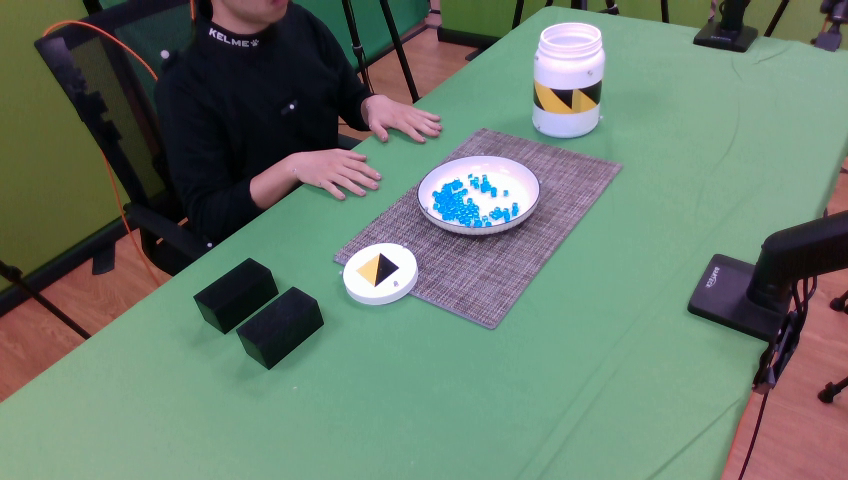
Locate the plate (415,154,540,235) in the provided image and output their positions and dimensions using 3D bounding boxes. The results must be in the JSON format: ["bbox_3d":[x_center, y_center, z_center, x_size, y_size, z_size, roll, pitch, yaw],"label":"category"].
[{"bbox_3d":[0.090,-0.074,1.025,0.207,0.039,0.206,-4,41,4],"label":"plate"}]

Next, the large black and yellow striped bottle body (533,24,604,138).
[{"bbox_3d":[0.275,-0.304,1.160,0.131,0.185,0.130,-4,41,4],"label":"large black and yellow striped bottle body"}]

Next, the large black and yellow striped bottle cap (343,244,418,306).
[{"bbox_3d":[-0.066,0.051,0.918,0.115,0.019,0.114,-6,43,6],"label":"large black and yellow striped bottle cap"}]
